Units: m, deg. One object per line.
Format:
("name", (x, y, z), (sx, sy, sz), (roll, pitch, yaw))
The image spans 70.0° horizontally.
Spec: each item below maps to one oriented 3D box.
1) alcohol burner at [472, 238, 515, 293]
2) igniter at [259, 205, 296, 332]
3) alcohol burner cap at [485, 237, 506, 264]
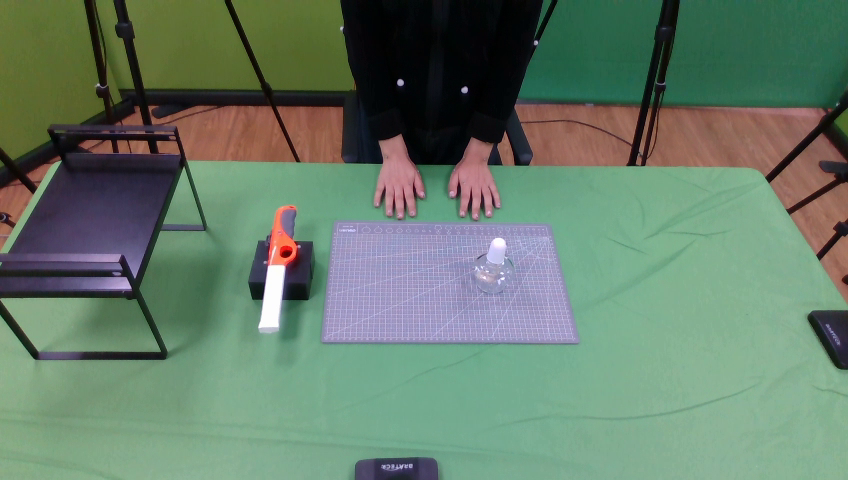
("alcohol burner", (0.128, 0.041, 1.101), (0.078, 0.120, 0.077), (1, 47, -1))
("igniter", (-0.259, 0.040, 1.071), (0.057, 0.025, 0.274), (0, 50, -5))
("alcohol burner cap", (0.129, 0.016, 1.076), (0.034, 0.048, 0.033), (6, 42, -5))
